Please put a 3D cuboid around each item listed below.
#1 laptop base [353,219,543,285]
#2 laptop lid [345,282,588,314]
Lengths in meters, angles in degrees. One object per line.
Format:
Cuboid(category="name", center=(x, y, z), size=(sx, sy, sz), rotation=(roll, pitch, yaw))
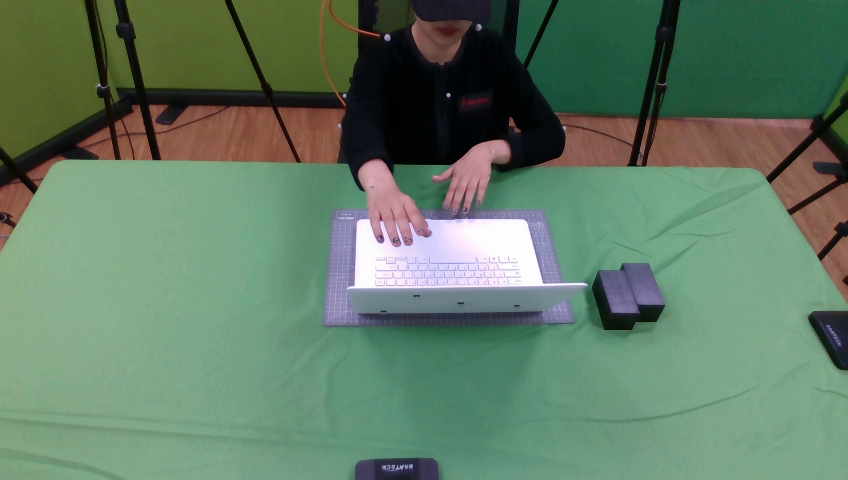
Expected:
Cuboid(category="laptop base", center=(0.043, 0.044, 1.162), size=(0.355, 0.023, 0.234), rotation=(0, 43, -5))
Cuboid(category="laptop lid", center=(0.057, 0.096, 0.969), size=(0.357, 0.242, 0.013), rotation=(0, 74, -6))
